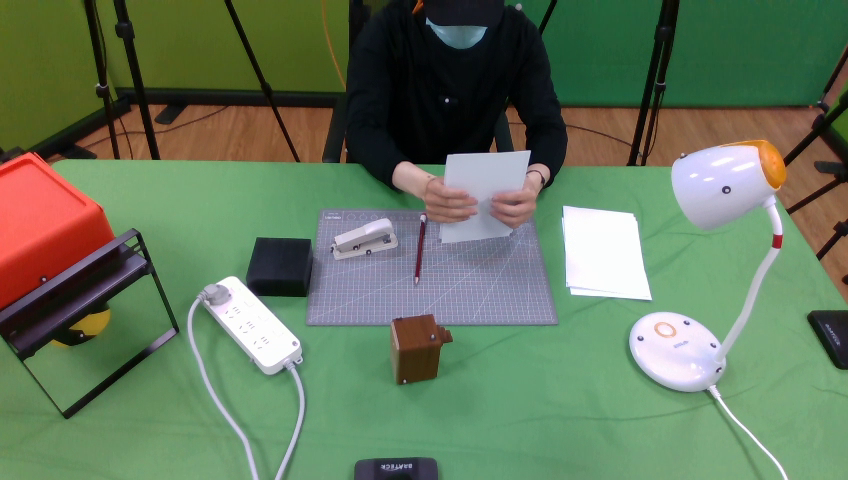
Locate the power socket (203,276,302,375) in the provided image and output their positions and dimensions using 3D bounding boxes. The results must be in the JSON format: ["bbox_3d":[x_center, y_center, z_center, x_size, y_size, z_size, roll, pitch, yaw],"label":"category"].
[{"bbox_3d":[-0.297,0.141,1.034,0.072,0.033,0.225,-34,58,-30],"label":"power socket"}]

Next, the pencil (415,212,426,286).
[{"bbox_3d":[-0.008,0.014,1.190,0.012,0.012,0.193,5,48,1],"label":"pencil"}]

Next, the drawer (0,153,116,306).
[{"bbox_3d":[-0.601,-0.015,0.880,0.193,0.073,0.211,32,53,23],"label":"drawer"}]

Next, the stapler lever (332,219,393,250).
[{"bbox_3d":[-0.116,-0.012,1.162,0.118,0.040,0.026,-13,47,-15],"label":"stapler lever"}]

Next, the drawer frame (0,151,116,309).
[{"bbox_3d":[-0.604,-0.013,0.876,0.201,0.083,0.213,31,52,23],"label":"drawer frame"}]

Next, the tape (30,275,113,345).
[{"bbox_3d":[-0.593,0.117,1.021,0.117,0.053,0.116,2,46,-2],"label":"tape"}]

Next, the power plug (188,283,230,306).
[{"bbox_3d":[-0.368,0.099,1.037,0.072,0.053,0.035,-24,52,-26],"label":"power plug"}]

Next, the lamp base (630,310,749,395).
[{"bbox_3d":[0.447,0.143,0.984,0.161,0.181,0.178,-24,55,-24],"label":"lamp base"}]

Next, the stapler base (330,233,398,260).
[{"bbox_3d":[-0.116,0.004,1.181,0.131,0.024,0.041,-13,47,-14],"label":"stapler base"}]

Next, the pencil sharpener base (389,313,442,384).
[{"bbox_3d":[-0.013,0.175,0.971,0.077,0.107,0.061,-8,47,-11],"label":"pencil sharpener base"}]

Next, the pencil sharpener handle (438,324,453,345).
[{"bbox_3d":[0.036,0.155,0.976,0.031,0.068,0.036,-8,69,-11],"label":"pencil sharpener handle"}]

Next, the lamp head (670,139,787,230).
[{"bbox_3d":[0.415,-0.079,0.812,0.113,0.123,0.112,13,70,-37],"label":"lamp head"}]
